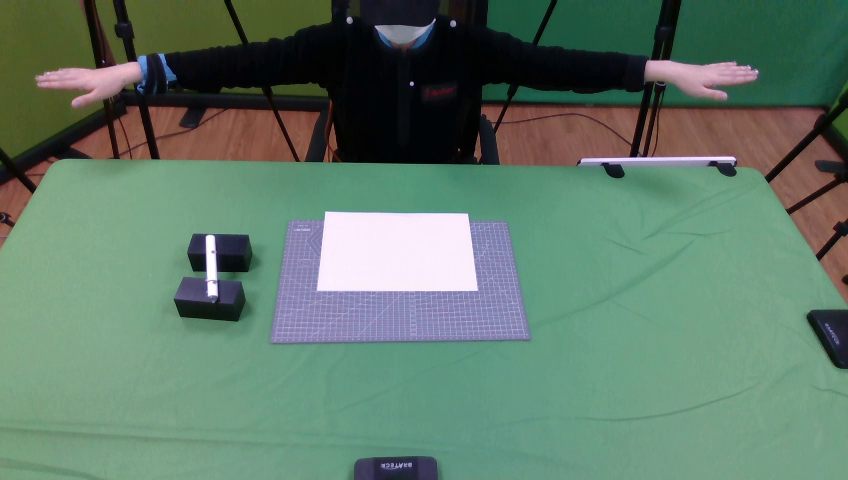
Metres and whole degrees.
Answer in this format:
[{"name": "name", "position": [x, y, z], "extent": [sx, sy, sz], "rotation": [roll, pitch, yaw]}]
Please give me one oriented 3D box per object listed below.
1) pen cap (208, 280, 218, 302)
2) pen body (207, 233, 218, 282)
[{"name": "pen cap", "position": [-0.356, 0.086, 1.021], "extent": [0.017, 0.017, 0.038], "rotation": [-9, 47, -12]}, {"name": "pen body", "position": [-0.370, 0.042, 1.062], "extent": [0.017, 0.017, 0.143], "rotation": [-9, 47, -12]}]
